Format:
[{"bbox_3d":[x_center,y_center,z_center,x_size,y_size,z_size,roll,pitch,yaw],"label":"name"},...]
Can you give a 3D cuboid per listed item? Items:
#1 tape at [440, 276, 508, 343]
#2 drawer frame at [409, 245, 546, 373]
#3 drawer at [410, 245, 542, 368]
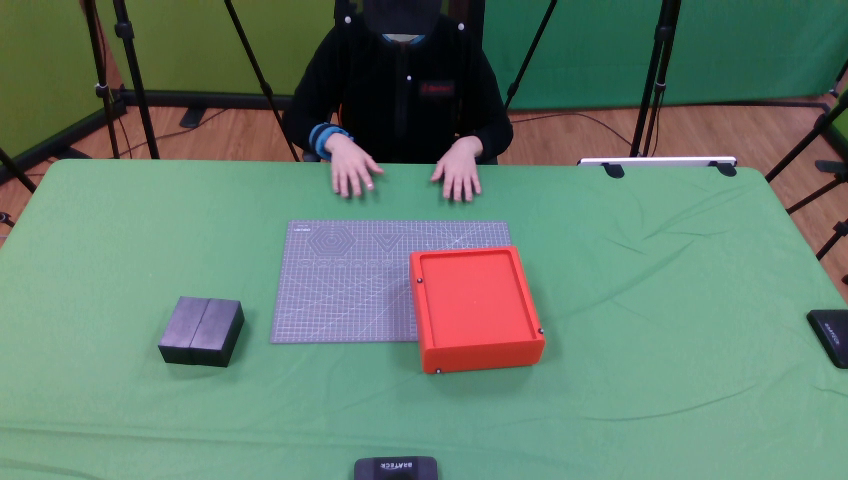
[{"bbox_3d":[0.086,0.120,1.053,0.117,0.053,0.116,2,46,-2],"label":"tape"},{"bbox_3d":[0.084,0.113,1.049,0.202,0.083,0.212,-4,47,-8],"label":"drawer frame"},{"bbox_3d":[0.083,0.111,1.051,0.195,0.073,0.210,-3,47,-8],"label":"drawer"}]
